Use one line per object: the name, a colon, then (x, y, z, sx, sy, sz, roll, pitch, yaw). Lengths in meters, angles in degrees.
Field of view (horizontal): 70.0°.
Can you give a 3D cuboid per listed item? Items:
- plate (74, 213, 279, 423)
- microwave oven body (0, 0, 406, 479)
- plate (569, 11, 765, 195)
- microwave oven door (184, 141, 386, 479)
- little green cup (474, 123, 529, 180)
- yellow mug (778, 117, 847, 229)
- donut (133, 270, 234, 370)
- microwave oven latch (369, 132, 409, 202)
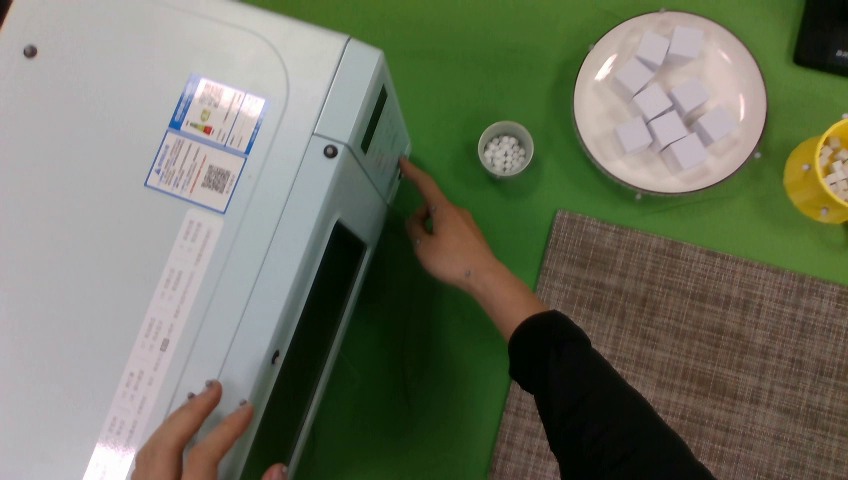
plate: (-0.247, 0.078, 0.618, 0.209, 0.038, 0.208, 0, 83, 4)
microwave oven body: (-0.246, 0.022, 0.571, 0.325, 0.261, 0.441, 19, 85, 6)
plate: (0.265, -0.149, 0.676, 0.207, 0.039, 0.207, -1, 82, 4)
microwave oven door: (-0.124, 0.108, 0.546, 0.039, 0.244, 0.355, 19, 84, 7)
little green cup: (0.086, -0.097, 0.679, 0.061, 0.039, 0.061, 0, 84, 4)
yellow mug: (0.447, -0.058, 0.638, 0.100, 0.064, 0.130, -21, 82, 0)
donut: (-0.238, 0.078, 0.602, 0.099, 0.048, 0.099, 0, 86, 1)
microwave oven latch: (-0.042, -0.084, 0.668, 0.030, 0.029, 0.079, 23, 85, 6)
